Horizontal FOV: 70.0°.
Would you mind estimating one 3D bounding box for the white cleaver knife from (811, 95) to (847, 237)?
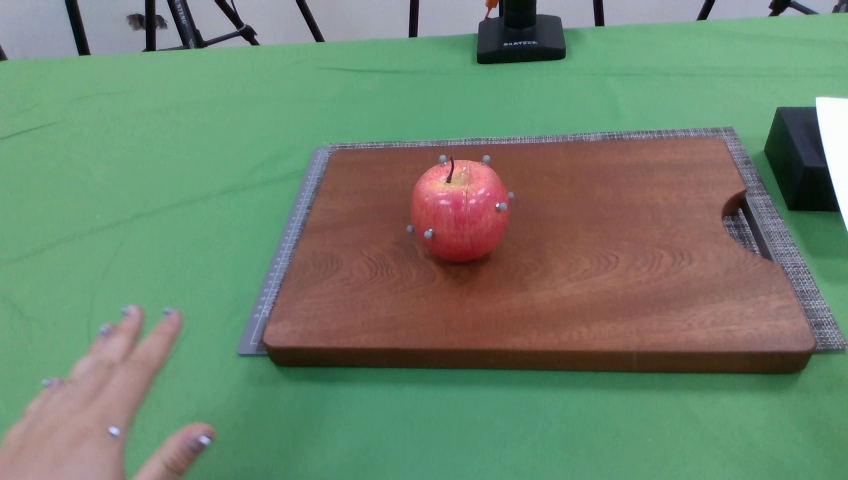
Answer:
[{"bbox_3d":[0.368,-0.017,0.486,0.065,0.022,0.284,0,54,13],"label":"white cleaver knife"}]

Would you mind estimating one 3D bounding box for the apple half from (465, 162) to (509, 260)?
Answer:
[{"bbox_3d":[0.054,-0.023,0.495,0.033,0.082,0.080,-4,42,11],"label":"apple half"}]

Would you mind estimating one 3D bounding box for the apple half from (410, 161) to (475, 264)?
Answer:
[{"bbox_3d":[0.016,-0.022,0.502,0.053,0.075,0.080,-4,44,11],"label":"apple half"}]
